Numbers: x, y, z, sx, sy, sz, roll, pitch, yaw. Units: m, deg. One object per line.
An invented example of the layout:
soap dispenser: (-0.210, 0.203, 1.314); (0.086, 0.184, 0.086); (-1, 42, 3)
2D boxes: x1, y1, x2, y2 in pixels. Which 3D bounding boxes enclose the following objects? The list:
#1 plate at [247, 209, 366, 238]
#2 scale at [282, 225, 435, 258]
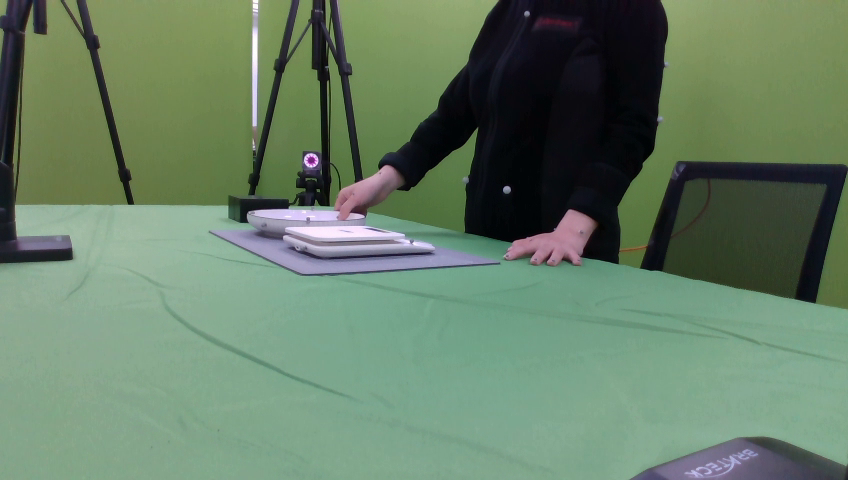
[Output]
plate: (-0.208, -0.030, 1.082); (0.209, 0.038, 0.209); (2, 7, 0)
scale: (-0.098, 0.000, 0.914); (0.202, 0.031, 0.148); (-2, 9, -33)
